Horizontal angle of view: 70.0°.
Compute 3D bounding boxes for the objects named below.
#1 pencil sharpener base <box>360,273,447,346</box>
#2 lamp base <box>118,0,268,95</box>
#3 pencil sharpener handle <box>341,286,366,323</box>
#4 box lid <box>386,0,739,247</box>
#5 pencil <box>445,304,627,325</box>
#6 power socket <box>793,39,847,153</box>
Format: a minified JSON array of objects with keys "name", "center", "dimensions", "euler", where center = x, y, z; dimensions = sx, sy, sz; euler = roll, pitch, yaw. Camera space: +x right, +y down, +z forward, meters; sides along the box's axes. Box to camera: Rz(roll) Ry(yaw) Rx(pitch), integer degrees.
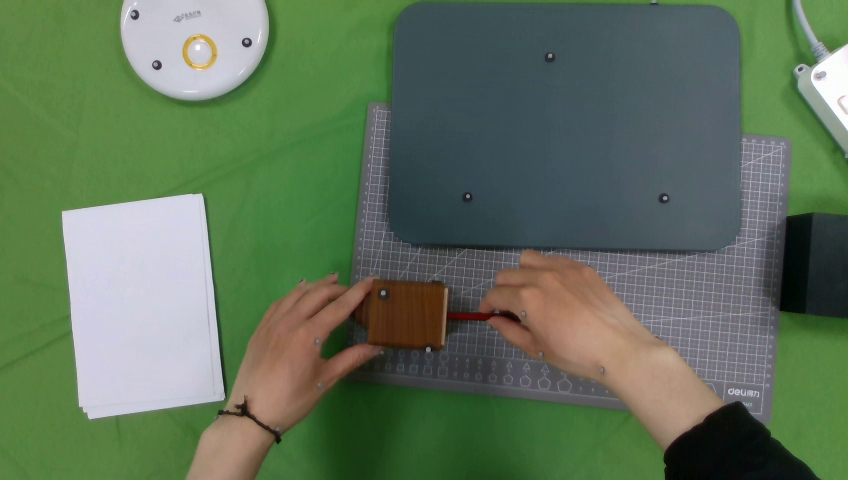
[{"name":"pencil sharpener base","center":[-0.018,0.065,0.591],"dimensions":[0.076,0.107,0.061],"euler":[4,88,2]},{"name":"lamp base","center":[-0.256,-0.250,0.575],"dimensions":[0.160,0.180,0.178],"euler":[-26,84,1]},{"name":"pencil sharpener handle","center":[-0.069,0.059,0.580],"dimensions":[0.030,0.068,0.036],"euler":[4,91,3]},{"name":"box lid","center":[0.148,-0.126,0.642],"dimensions":[0.371,0.015,0.263],"euler":[1,88,2]},{"name":"pencil","center":[0.090,0.067,0.560],"dimensions":[0.194,0.012,0.012],"euler":[3,88,1]},{"name":"power socket","center":[0.475,-0.108,0.622],"dimensions":[0.072,0.032,0.226],"euler":[-35,87,0]}]
